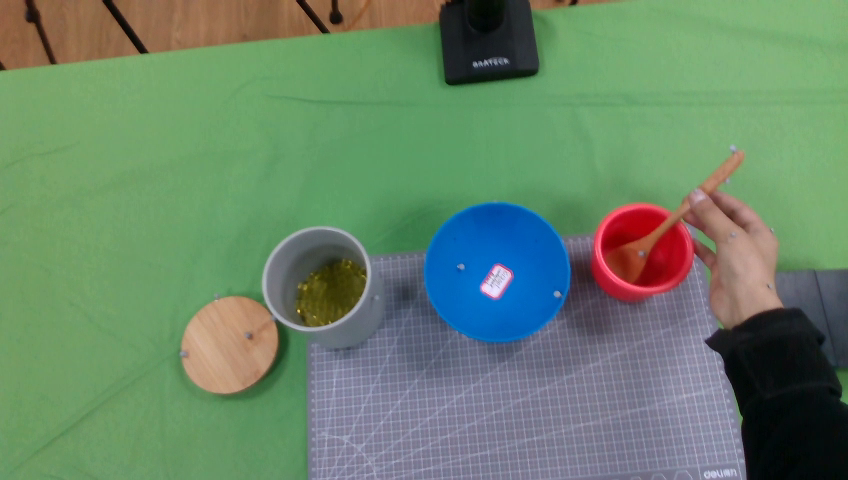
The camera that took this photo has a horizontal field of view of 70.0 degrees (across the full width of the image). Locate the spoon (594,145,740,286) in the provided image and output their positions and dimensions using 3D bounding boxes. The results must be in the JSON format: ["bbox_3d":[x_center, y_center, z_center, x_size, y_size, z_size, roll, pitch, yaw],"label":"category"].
[{"bbox_3d":[0.247,-0.021,0.621,0.041,0.022,0.194,49,126,17],"label":"spoon"}]

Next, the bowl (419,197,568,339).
[{"bbox_3d":[0.073,0.038,0.650,0.151,0.077,0.150,-1,72,4],"label":"bowl"}]

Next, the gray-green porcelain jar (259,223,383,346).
[{"bbox_3d":[-0.100,0.052,0.632,0.106,0.127,0.105,-1,72,4],"label":"gray-green porcelain jar"}]

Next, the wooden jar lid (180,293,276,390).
[{"bbox_3d":[-0.218,0.114,0.681,0.108,0.021,0.107,-1,72,4],"label":"wooden jar lid"}]
